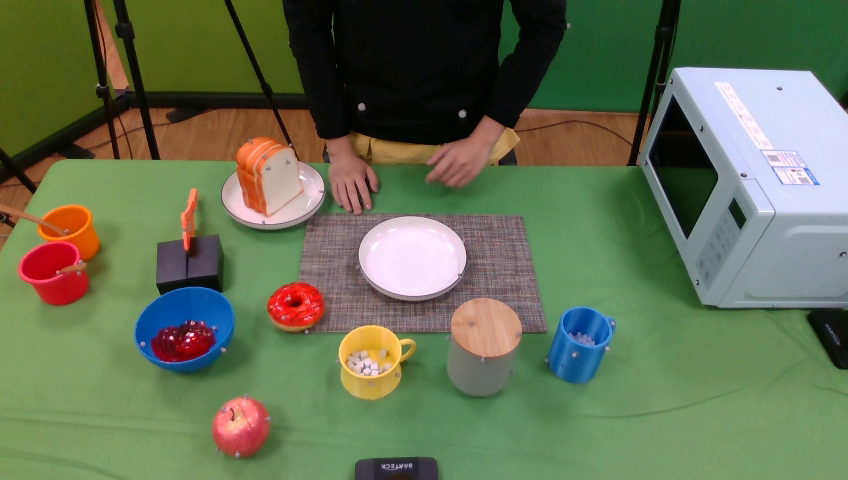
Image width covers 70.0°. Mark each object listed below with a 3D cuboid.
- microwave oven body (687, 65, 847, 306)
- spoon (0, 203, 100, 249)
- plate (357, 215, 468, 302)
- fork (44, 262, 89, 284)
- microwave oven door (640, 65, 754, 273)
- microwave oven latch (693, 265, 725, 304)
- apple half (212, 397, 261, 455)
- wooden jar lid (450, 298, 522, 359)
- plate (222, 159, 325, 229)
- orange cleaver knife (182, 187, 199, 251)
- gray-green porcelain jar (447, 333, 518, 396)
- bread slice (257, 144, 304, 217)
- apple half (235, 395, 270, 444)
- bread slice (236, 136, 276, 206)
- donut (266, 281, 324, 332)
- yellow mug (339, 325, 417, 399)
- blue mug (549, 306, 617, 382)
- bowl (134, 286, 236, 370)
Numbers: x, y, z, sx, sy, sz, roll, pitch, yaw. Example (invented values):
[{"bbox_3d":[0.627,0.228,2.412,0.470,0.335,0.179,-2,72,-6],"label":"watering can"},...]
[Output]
[{"bbox_3d":[0.669,-0.111,1.176,0.326,0.261,0.439,0,46,-3],"label":"microwave oven body"},{"bbox_3d":[-0.683,-0.031,1.088,0.195,0.021,0.041,33,33,-38],"label":"spoon"},{"bbox_3d":[-0.022,0.037,1.141,0.208,0.039,0.206,2,46,-2],"label":"plate"},{"bbox_3d":[-0.599,0.054,1.014,0.207,0.019,0.028,-15,29,45],"label":"fork"},{"bbox_3d":[0.523,-0.147,1.193,0.039,0.245,0.353,0,47,-3],"label":"microwave oven door"},{"bbox_3d":[0.522,0.081,1.116,0.030,0.029,0.078,2,46,-1],"label":"microwave oven latch"},{"bbox_3d":[-0.276,0.276,0.877,0.053,0.075,0.080,-29,58,-21],"label":"apple half"},{"bbox_3d":[0.093,0.135,0.914,0.108,0.021,0.107,2,48,-3],"label":"wooden jar lid"},{"bbox_3d":[-0.308,-0.095,1.251,0.209,0.038,0.208,2,46,-2],"label":"plate"},{"bbox_3d":[-0.445,-0.045,1.163,0.012,0.077,0.210,-5,24,-13],"label":"orange cleaver knife"},{"bbox_3d":[0.091,0.178,0.960,0.106,0.127,0.105,2,46,-2],"label":"gray-green porcelain jar"},{"bbox_3d":[-0.290,-0.124,1.205,0.018,0.135,0.107,25,53,23],"label":"bread slice"},{"bbox_3d":[-0.245,0.259,0.893,0.033,0.082,0.081,-29,55,-22],"label":"apple half"},{"bbox_3d":[-0.331,-0.147,1.225,0.019,0.132,0.105,24,47,26],"label":"bread slice"},{"bbox_3d":[-0.222,0.114,1.049,0.099,0.048,0.098,2,45,-2],"label":"donut"},{"bbox_3d":[-0.072,0.191,0.978,0.131,0.064,0.099,-17,50,-20],"label":"yellow mug"},{"bbox_3d":[0.269,0.166,0.998,0.116,0.106,0.082,-19,51,-21],"label":"blue mug"},{"bbox_3d":[-0.377,0.156,0.981,0.151,0.077,0.150,2,46,-2],"label":"bowl"}]
